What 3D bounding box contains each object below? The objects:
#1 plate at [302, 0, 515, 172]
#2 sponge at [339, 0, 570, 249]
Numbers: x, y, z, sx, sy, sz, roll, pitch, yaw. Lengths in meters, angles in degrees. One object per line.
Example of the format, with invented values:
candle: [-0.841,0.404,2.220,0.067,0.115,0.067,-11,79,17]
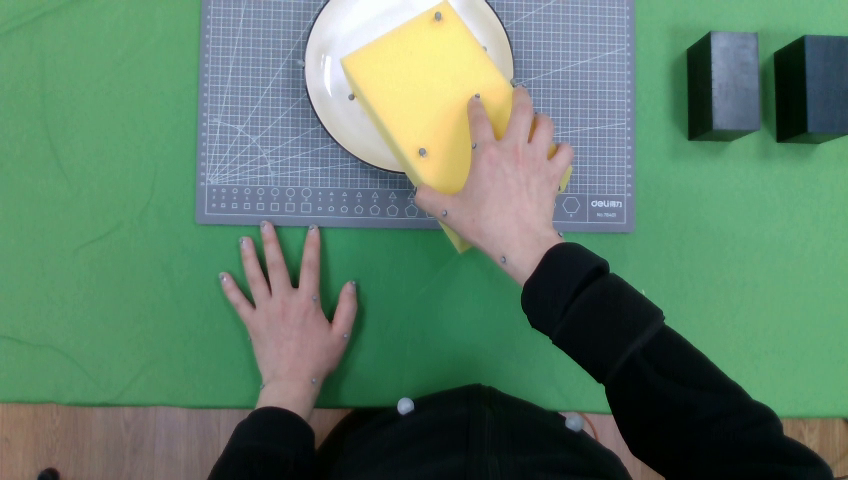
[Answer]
plate: [-0.014,-0.169,0.609,0.209,0.038,0.209,0,87,-5]
sponge: [0.026,-0.110,0.567,0.118,0.061,0.205,-32,76,-6]
